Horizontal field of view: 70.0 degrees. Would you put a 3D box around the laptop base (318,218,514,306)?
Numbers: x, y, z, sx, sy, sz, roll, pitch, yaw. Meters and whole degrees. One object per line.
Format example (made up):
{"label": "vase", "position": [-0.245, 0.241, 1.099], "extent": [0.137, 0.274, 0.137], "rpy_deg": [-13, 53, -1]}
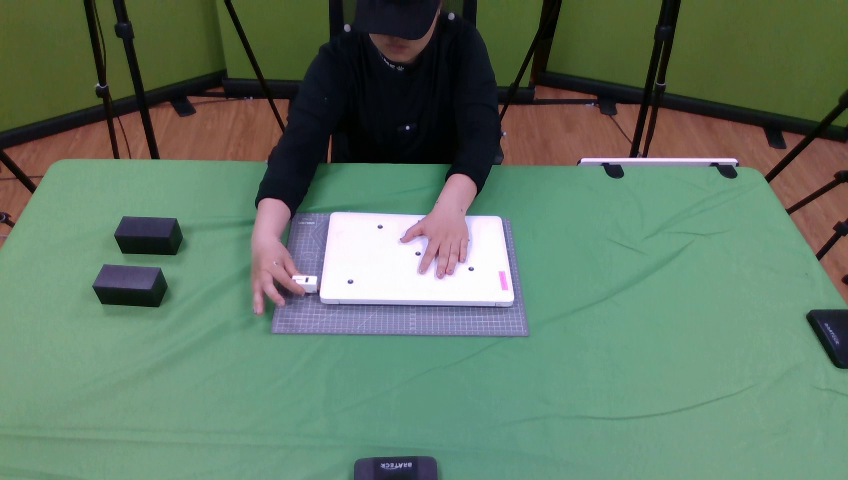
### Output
{"label": "laptop base", "position": [-0.015, 0.037, 1.162], "extent": [0.354, 0.023, 0.234], "rpy_deg": [1, 42, -3]}

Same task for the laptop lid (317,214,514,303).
{"label": "laptop lid", "position": [-0.015, 0.029, 1.157], "extent": [0.357, 0.013, 0.240], "rpy_deg": [3, 43, -2]}

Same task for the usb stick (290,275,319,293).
{"label": "usb stick", "position": [-0.209, 0.079, 1.086], "extent": [0.059, 0.027, 0.021], "rpy_deg": [7, 50, -6]}
